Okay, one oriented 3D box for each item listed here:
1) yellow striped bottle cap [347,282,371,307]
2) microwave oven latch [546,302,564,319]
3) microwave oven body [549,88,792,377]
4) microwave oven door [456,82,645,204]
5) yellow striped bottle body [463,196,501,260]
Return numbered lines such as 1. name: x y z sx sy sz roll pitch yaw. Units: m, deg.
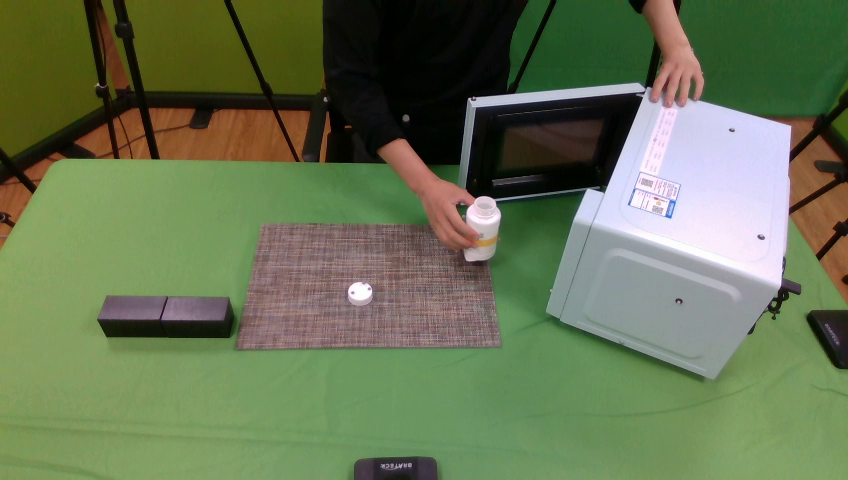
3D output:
1. yellow striped bottle cap: -0.117 0.098 1.093 0.044 0.019 0.044 3 45 -3
2. microwave oven latch: 0.242 0.102 1.081 0.030 0.029 0.079 21 48 17
3. microwave oven body: 0.455 -0.028 1.088 0.325 0.261 0.440 20 47 16
4. microwave oven door: 0.249 -0.193 1.225 0.356 0.245 0.039 -8 47 -11
5. yellow striped bottle body: 0.106 -0.024 1.114 0.063 0.121 0.062 0 46 0
